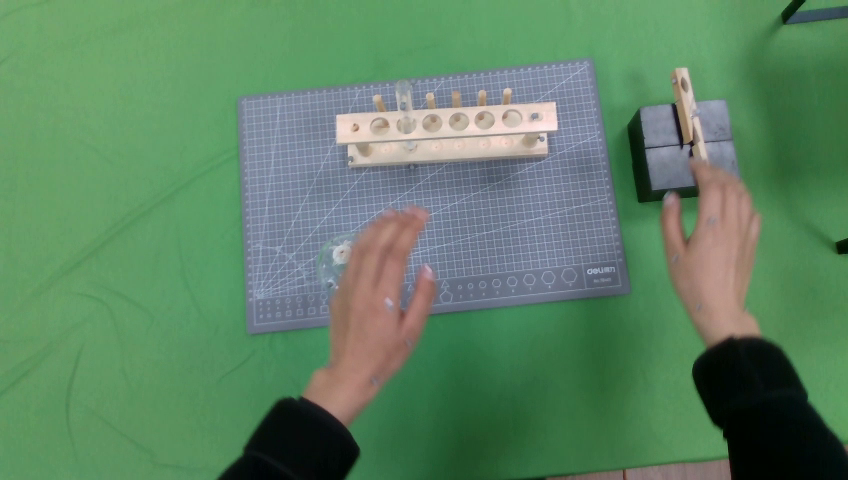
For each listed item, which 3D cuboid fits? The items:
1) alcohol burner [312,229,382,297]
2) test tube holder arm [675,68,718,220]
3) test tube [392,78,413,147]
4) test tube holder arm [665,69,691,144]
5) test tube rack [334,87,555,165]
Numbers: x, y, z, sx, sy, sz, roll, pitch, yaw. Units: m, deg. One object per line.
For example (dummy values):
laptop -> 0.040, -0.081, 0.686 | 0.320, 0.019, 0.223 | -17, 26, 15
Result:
alcohol burner -> -0.087, 0.022, 0.664 | 0.078, 0.119, 0.077 | 0, 78, 1
test tube holder arm -> 0.305, -0.109, 0.683 | 0.013, 0.015, 0.177 | -10, 80, -4
test tube -> -0.022, -0.134, 0.657 | 0.017, 0.151, 0.017 | 0, 77, 1
test tube holder arm -> 0.291, -0.152, 0.690 | 0.010, 0.015, 0.087 | -9, 80, -4
test tube rack -> 0.023, -0.138, 0.707 | 0.242, 0.085, 0.066 | -3, 79, 1
